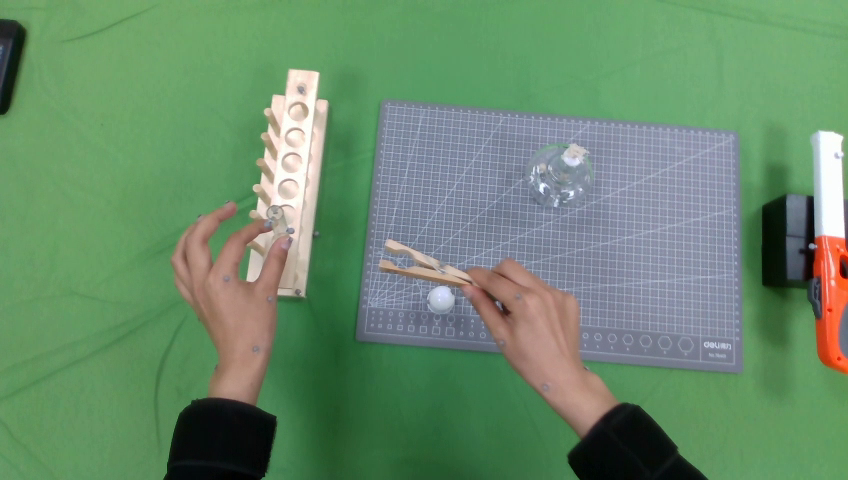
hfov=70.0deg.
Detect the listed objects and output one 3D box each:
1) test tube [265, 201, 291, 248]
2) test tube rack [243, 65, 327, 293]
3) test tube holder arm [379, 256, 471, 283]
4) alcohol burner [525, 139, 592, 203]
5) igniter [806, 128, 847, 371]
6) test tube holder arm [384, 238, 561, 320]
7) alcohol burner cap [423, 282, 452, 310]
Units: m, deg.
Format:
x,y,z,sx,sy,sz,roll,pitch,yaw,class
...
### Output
x,y,z,sx,sy,sz,roll,pitch,yaw,class
-0.144,-0.007,0.612,0.017,0.151,0.017,2,74,-7,test tube
-0.161,-0.067,0.683,0.067,0.085,0.241,5,79,-1,test tube rack
0.001,0.028,0.571,0.088,0.015,0.010,10,76,-1,test tube holder arm
0.155,-0.083,0.683,0.078,0.119,0.077,0,79,0,alcohol burner
0.454,0.006,0.677,0.057,0.025,0.275,7,76,-4,igniter
0.046,0.037,0.572,0.178,0.015,0.013,21,77,1,test tube holder arm
0.017,0.062,0.685,0.034,0.048,0.033,1,79,-3,alcohol burner cap
